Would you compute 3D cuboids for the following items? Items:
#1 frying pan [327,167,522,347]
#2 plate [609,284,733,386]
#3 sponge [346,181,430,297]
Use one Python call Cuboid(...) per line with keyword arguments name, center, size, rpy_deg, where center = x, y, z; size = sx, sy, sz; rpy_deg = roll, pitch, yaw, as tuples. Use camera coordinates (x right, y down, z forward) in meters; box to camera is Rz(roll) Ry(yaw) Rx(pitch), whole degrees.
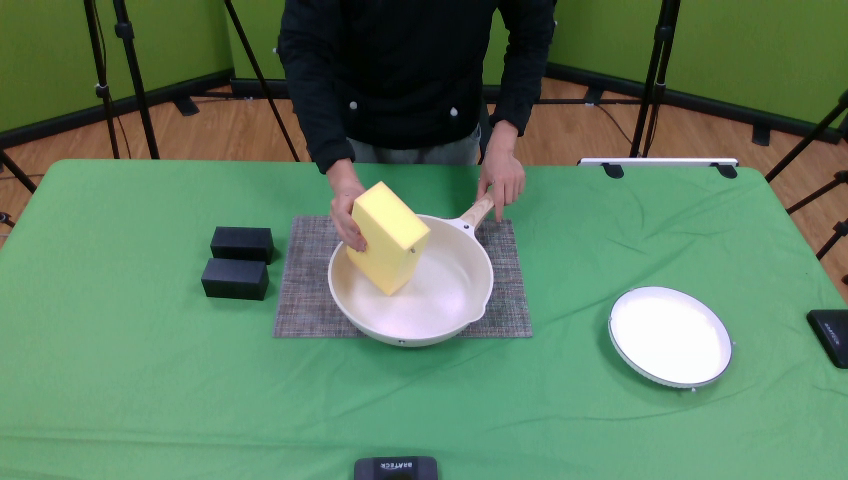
Cuboid(name="frying pan", center=(0.042, 0.009, 1.132), size=(0.305, 0.103, 0.487), rpy_deg=(33, 61, 24))
Cuboid(name="plate", center=(0.425, 0.167, 1.059), size=(0.208, 0.039, 0.206), rpy_deg=(2, 46, -2))
Cuboid(name="sponge", center=(-0.068, 0.006, 1.038), size=(0.061, 0.207, 0.118), rpy_deg=(-39, 77, -25))
